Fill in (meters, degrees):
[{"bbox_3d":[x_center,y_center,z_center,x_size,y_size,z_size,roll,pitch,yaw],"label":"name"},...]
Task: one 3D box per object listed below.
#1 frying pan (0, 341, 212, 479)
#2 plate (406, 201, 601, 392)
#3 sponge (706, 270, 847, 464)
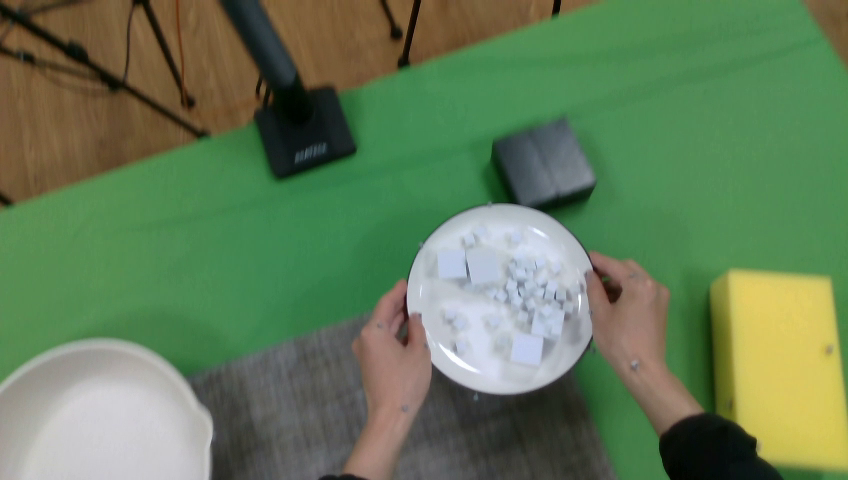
[{"bbox_3d":[-0.338,0.349,0.637,0.307,0.103,0.483,-21,64,-3],"label":"frying pan"},{"bbox_3d":[0.085,0.061,0.664,0.207,0.039,0.206,-1,77,4],"label":"plate"},{"bbox_3d":[0.400,0.144,0.696,0.118,0.061,0.205,3,72,5],"label":"sponge"}]
